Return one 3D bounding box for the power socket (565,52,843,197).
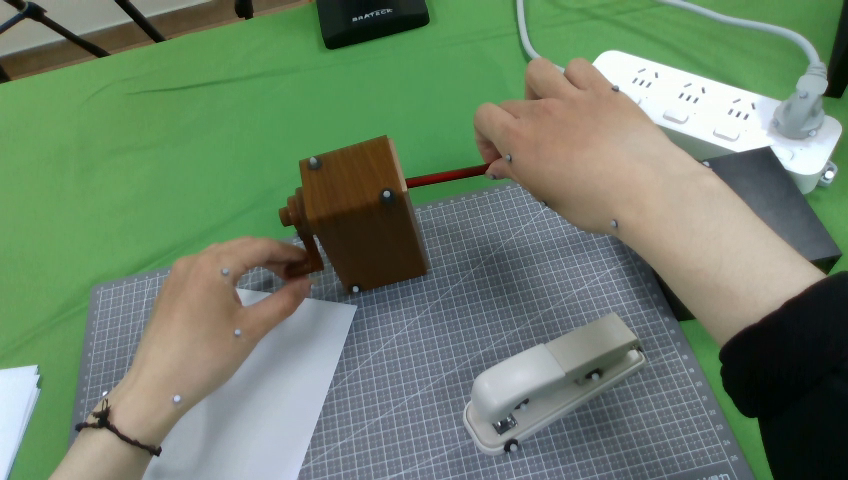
[{"bbox_3d":[0.232,-0.104,0.517,0.225,0.033,0.072,28,64,27],"label":"power socket"}]

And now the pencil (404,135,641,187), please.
[{"bbox_3d":[0.059,-0.054,0.433,0.194,0.012,0.012,-10,54,-1],"label":"pencil"}]

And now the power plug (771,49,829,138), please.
[{"bbox_3d":[0.305,-0.107,0.477,0.072,0.053,0.035,-41,58,-17],"label":"power plug"}]

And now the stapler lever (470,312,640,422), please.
[{"bbox_3d":[0.084,0.079,0.387,0.118,0.040,0.026,-27,55,-10],"label":"stapler lever"}]

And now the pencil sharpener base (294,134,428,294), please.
[{"bbox_3d":[-0.045,-0.015,0.455,0.077,0.108,0.060,-16,54,0],"label":"pencil sharpener base"}]

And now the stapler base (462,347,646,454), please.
[{"bbox_3d":[0.086,0.095,0.407,0.130,0.025,0.041,-27,55,-10],"label":"stapler base"}]

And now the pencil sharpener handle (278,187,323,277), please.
[{"bbox_3d":[-0.095,-0.003,0.439,0.030,0.068,0.035,-16,30,0],"label":"pencil sharpener handle"}]
